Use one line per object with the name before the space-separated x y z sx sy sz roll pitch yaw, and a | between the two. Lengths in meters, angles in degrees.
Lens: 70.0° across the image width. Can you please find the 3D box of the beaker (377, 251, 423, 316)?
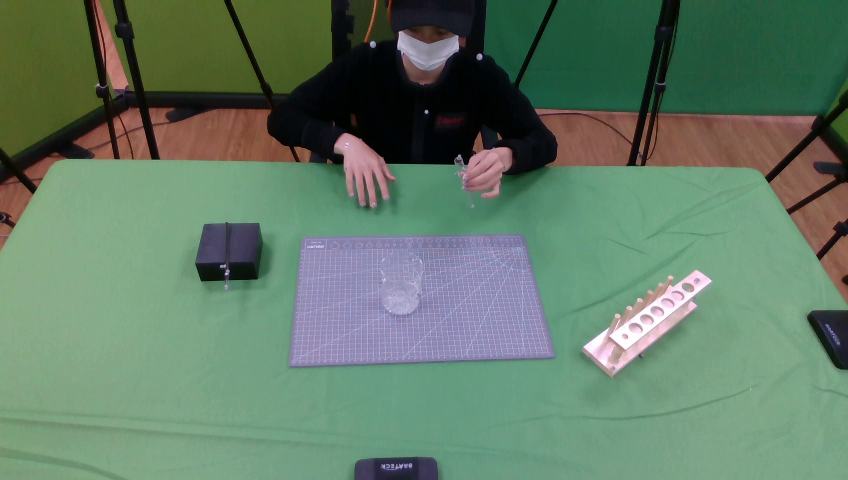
beaker | -0.040 0.081 1.060 0.074 0.101 0.083 -32 57 -30

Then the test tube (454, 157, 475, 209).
test tube | 0.077 -0.105 1.141 0.017 0.151 0.017 -7 57 11

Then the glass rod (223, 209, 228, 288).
glass rod | -0.360 0.010 1.098 0.008 0.008 0.198 -7 47 -12

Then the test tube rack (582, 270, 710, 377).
test tube rack | 0.389 0.132 1.057 0.242 0.085 0.066 -28 54 -28
